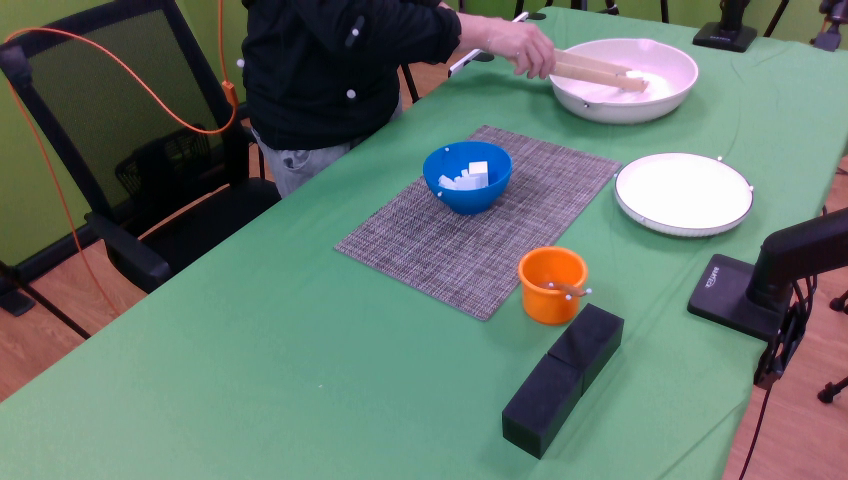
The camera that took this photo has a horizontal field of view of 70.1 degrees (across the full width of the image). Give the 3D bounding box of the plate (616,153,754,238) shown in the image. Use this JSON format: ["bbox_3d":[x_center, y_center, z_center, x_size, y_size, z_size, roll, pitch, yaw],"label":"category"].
[{"bbox_3d":[0.416,-0.069,0.977,0.207,0.039,0.206,-4,40,4],"label":"plate"}]

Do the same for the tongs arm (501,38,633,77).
[{"bbox_3d":[0.289,-0.349,1.176,0.391,0.027,0.028,-3,51,-38],"label":"tongs arm"}]

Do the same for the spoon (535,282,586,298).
[{"bbox_3d":[0.176,0.063,0.774,0.041,0.194,0.021,-3,85,1],"label":"spoon"}]

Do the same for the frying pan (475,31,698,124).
[{"bbox_3d":[0.320,-0.371,1.290,0.485,0.103,0.307,28,50,23],"label":"frying pan"}]

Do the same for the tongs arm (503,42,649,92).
[{"bbox_3d":[0.303,-0.326,1.158,0.388,0.026,0.050,-4,48,-39],"label":"tongs arm"}]

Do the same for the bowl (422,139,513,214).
[{"bbox_3d":[0.075,-0.098,1.021,0.151,0.077,0.150,-4,41,4],"label":"bowl"}]
